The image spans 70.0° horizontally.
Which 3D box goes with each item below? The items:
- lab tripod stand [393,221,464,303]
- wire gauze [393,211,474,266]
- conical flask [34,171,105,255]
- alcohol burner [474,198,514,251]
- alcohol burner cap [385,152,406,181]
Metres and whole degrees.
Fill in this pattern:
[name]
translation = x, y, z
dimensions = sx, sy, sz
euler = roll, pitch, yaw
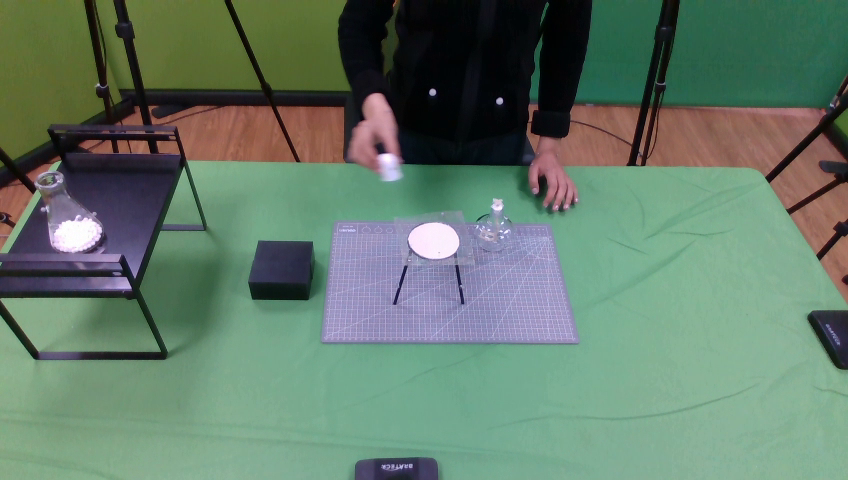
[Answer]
[lab tripod stand]
translation = 0.010, 0.045, 1.075
dimensions = 0.148, 0.132, 0.147
euler = 2, 48, -2
[wire gauze]
translation = 0.015, -0.003, 1.028
dimensions = 0.125, 0.011, 0.120
euler = -4, 47, -7
[conical flask]
translation = -0.522, -0.043, 0.879
dimensions = 0.075, 0.122, 0.075
euler = 2, 46, -2
[alcohol burner]
translation = 0.137, -0.035, 1.176
dimensions = 0.078, 0.120, 0.077
euler = 1, 47, -1
[alcohol burner cap]
translation = -0.052, -0.129, 1.050
dimensions = 0.034, 0.048, 0.033
euler = -7, 43, 7
